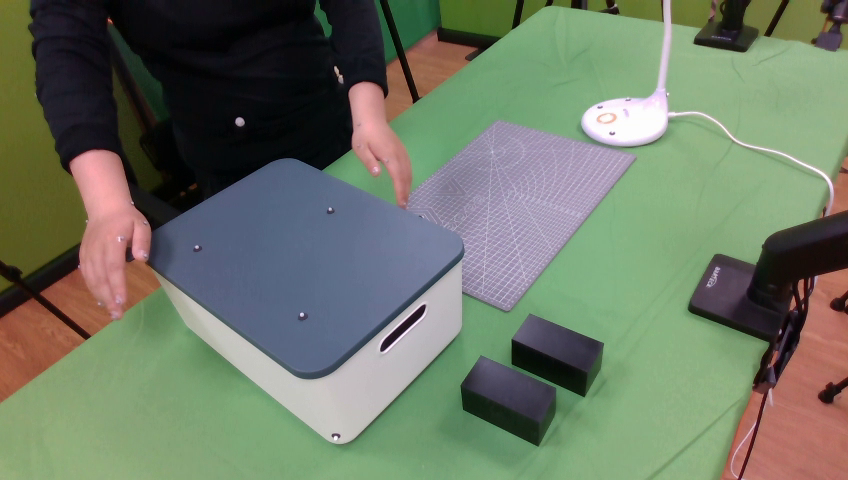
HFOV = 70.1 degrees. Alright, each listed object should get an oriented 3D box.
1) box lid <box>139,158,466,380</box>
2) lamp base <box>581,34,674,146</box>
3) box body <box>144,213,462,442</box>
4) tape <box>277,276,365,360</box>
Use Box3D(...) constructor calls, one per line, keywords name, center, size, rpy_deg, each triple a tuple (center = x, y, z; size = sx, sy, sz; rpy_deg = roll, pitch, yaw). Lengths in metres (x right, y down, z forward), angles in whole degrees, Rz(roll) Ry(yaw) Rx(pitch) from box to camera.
Box3D(name="box lid", center=(-0.158, 0.010, 0.758), size=(0.368, 0.015, 0.264), rpy_deg=(26, 50, 33))
Box3D(name="lamp base", center=(0.392, -0.291, 1.129), size=(0.180, 0.181, 0.159), rpy_deg=(-11, 41, -8))
Box3D(name="box body", center=(-0.152, 0.064, 0.807), size=(0.361, 0.161, 0.255), rpy_deg=(26, 51, 32))
Box3D(name="tape", center=(-0.140, 0.106, 0.832), size=(0.117, 0.053, 0.116), rpy_deg=(-4, 41, 4))
